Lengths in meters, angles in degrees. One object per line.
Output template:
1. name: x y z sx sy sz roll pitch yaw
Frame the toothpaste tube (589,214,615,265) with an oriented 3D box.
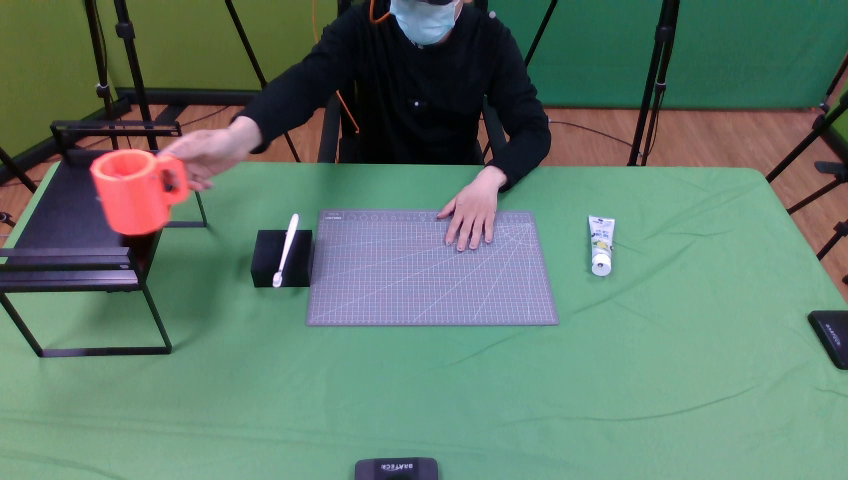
1. toothpaste tube: 0.360 0.002 1.220 0.055 0.035 0.164 13 43 3

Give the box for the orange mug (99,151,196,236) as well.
1. orange mug: -0.409 -0.076 0.908 0.126 0.101 0.083 -30 50 -30

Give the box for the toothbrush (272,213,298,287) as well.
1. toothbrush: -0.252 0.013 1.104 0.014 0.017 0.181 2 46 2

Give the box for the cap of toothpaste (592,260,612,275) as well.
1. cap of toothpaste: 0.341 0.052 1.162 0.037 0.037 0.011 10 43 5
